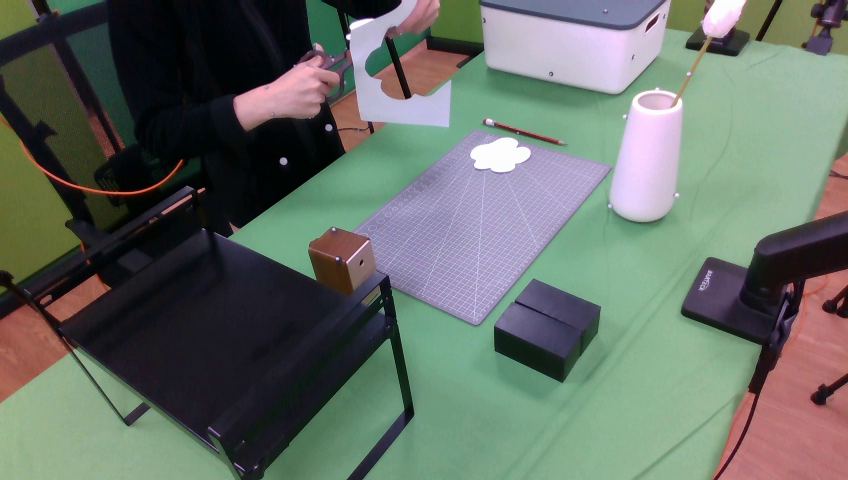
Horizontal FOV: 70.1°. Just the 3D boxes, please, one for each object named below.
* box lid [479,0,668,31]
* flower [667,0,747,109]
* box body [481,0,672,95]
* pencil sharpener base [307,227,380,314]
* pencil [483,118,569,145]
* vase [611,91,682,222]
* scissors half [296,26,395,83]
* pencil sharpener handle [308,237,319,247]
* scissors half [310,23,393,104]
[{"bbox_3d":[0.335,-0.536,1.331,0.368,0.015,0.264,23,49,30],"label":"box lid"},{"bbox_3d":[0.354,-0.187,0.879,0.038,0.362,0.044,30,48,14],"label":"flower"},{"bbox_3d":[0.341,-0.480,1.381,0.361,0.161,0.255,22,48,30],"label":"box body"},{"bbox_3d":[-0.116,0.043,0.875,0.076,0.107,0.061,18,47,27],"label":"pencil sharpener base"},{"bbox_3d":[0.202,-0.217,1.212,0.192,0.012,0.012,24,49,29],"label":"pencil"},{"bbox_3d":[0.348,-0.125,0.935,0.098,0.201,0.097,-3,40,3],"label":"vase"},{"bbox_3d":[-0.124,-0.292,0.939,0.175,0.040,0.013,-20,22,12],"label":"scissors half"},{"bbox_3d":[-0.159,0.017,0.892,0.030,0.068,0.036,18,61,28],"label":"pencil sharpener handle"},{"bbox_3d":[-0.112,-0.276,0.944,0.175,0.040,0.013,-42,11,19],"label":"scissors half"}]
